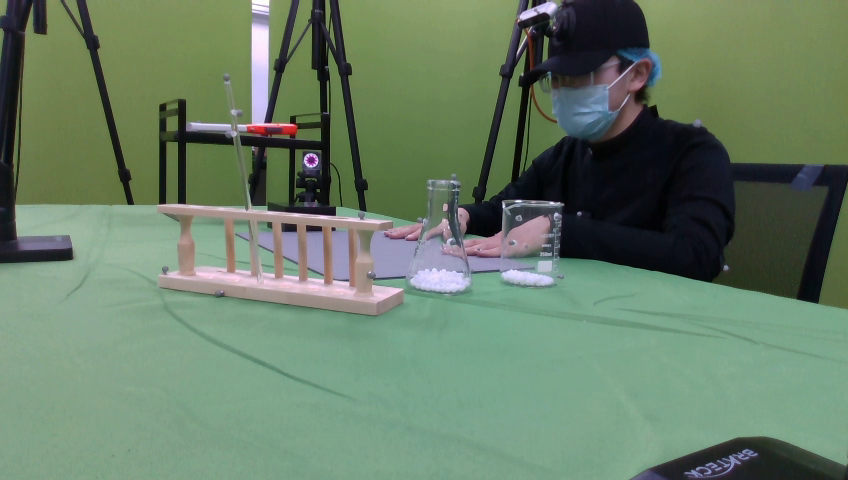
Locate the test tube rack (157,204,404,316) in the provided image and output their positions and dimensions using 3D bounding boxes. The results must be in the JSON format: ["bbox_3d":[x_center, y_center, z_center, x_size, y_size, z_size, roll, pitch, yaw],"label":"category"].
[{"bbox_3d":[-0.143,0.013,0.599,0.242,0.085,0.067,5,8,19],"label":"test tube rack"}]

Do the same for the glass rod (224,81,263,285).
[{"bbox_3d":[-0.173,-0.052,0.582,0.008,0.199,0.008,-7,7,1],"label":"glass rod"}]

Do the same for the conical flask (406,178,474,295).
[{"bbox_3d":[0.019,-0.006,0.655,0.075,0.122,0.075,2,7,0],"label":"conical flask"}]

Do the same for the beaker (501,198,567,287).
[{"bbox_3d":[0.127,0.002,0.718,0.084,0.100,0.073,-4,9,-35],"label":"beaker"}]

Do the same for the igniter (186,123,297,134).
[{"bbox_3d":[-0.392,-0.247,1.341,0.057,0.025,0.278,9,14,38],"label":"igniter"}]
